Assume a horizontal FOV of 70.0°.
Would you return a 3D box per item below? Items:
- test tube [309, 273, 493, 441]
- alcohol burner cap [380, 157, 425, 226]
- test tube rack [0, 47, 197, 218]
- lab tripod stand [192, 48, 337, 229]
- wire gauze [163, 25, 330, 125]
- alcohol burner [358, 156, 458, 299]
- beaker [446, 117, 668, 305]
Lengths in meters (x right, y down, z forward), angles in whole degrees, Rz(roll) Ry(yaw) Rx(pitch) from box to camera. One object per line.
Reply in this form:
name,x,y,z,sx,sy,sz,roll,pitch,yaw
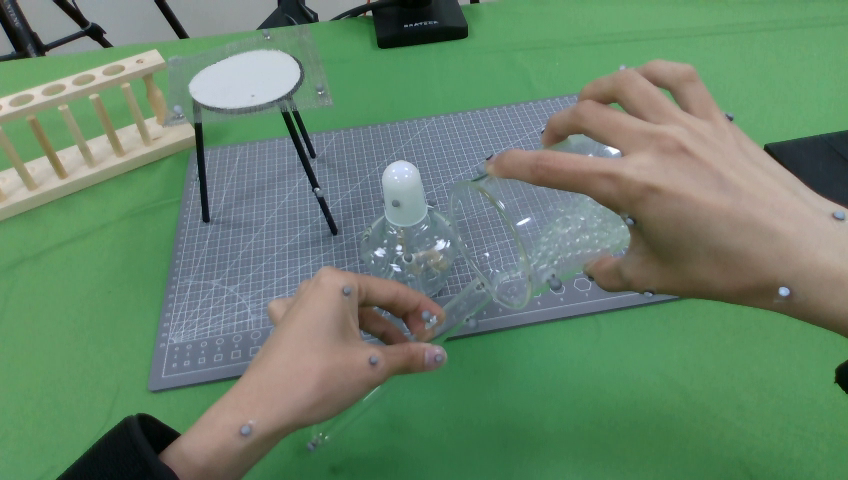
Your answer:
test tube,-0.017,0.073,0.366,0.150,0.017,0.017,-43,47,13
alcohol burner cap,-0.017,-0.037,0.434,0.034,0.048,0.033,-3,47,4
test tube rack,-0.363,-0.104,0.604,0.242,0.086,0.066,-27,49,-21
lab tripod stand,-0.139,-0.085,0.528,0.148,0.133,0.147,-3,47,3
wire gauze,-0.144,-0.132,0.480,0.125,0.011,0.120,-14,46,-7
alcohol burner,-0.013,-0.012,0.460,0.078,0.120,0.077,-2,43,2
beaker,0.074,-0.017,0.332,0.100,0.085,0.073,-26,57,-17
